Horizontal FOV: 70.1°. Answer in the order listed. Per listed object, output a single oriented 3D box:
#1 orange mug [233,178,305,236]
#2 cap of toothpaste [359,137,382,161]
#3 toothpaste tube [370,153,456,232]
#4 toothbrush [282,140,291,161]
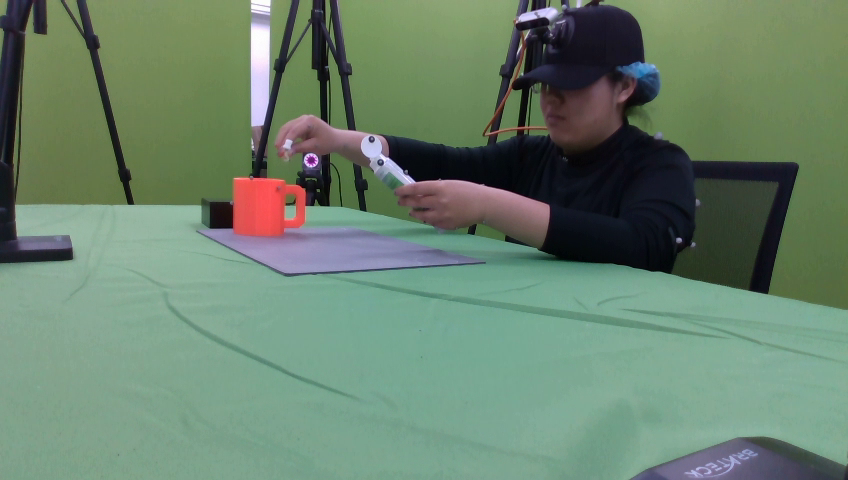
[{"bbox_3d":[-0.273,-0.061,1.067,0.127,0.101,0.083,-5,10,-24],"label":"orange mug"},{"bbox_3d":[-0.082,-0.139,0.922,0.037,0.037,0.011,-1,6,-21],"label":"cap of toothpaste"},{"bbox_3d":[-0.020,-0.078,0.952,0.034,0.165,0.055,-52,9,-32],"label":"toothpaste tube"},{"bbox_3d":[-0.244,-0.156,1.068,0.014,0.016,0.181,12,-2,-13],"label":"toothbrush"}]
